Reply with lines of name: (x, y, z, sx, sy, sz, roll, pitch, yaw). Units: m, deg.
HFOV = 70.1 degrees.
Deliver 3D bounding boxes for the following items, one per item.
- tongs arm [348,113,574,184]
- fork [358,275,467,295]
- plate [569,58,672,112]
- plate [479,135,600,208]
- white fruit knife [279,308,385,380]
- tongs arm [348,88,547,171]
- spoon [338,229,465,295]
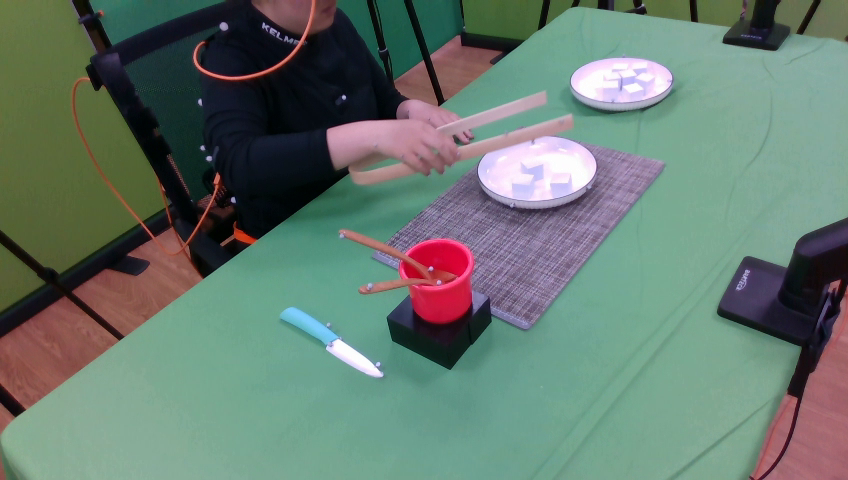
tongs arm: (0.063, -0.159, 1.020, 0.385, 0.027, 0.050, -17, 41, -4)
fork: (-0.009, 0.056, 0.739, 0.028, 0.018, 0.209, 48, 23, 26)
plate: (0.411, -0.323, 1.274, 0.209, 0.038, 0.208, -5, 41, 5)
plate: (0.202, -0.117, 1.065, 0.207, 0.039, 0.206, -5, 40, 5)
white fruit knife: (-0.130, 0.143, 0.845, 0.205, 0.016, 0.027, 25, 79, 32)
tongs arm: (0.047, -0.194, 1.068, 0.388, 0.028, 0.028, -22, 44, -10)
spoon: (-0.025, 0.026, 0.776, 0.021, 0.195, 0.041, -41, 34, 32)
